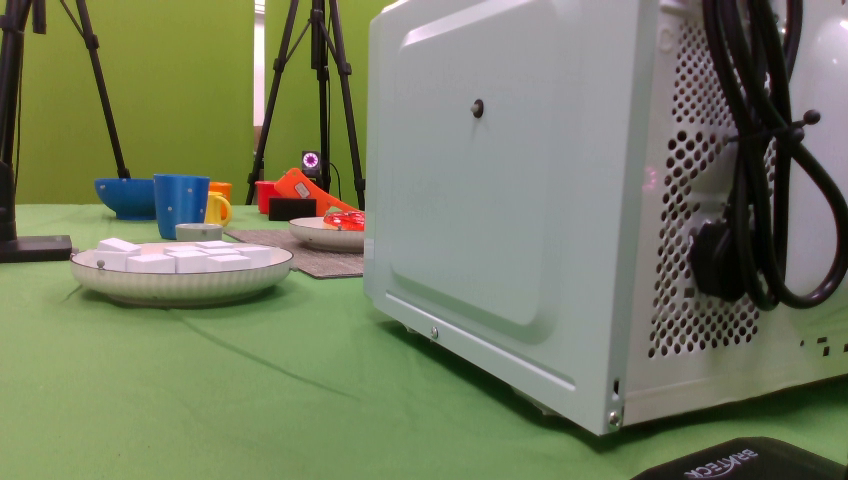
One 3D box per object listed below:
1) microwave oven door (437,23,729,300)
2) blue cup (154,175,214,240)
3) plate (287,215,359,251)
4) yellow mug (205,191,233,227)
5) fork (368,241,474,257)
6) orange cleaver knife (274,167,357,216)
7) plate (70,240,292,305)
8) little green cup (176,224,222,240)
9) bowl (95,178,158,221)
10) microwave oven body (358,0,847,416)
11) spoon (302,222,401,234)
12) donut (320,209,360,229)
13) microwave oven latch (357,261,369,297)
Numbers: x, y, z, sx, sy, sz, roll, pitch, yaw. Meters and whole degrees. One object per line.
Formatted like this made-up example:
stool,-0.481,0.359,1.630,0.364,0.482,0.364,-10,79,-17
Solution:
microwave oven door,0.181,-0.072,0.621,0.358,0.243,0.039,-2,9,-29
blue cup,-0.390,-0.053,0.978,0.093,0.100,0.092,3,6,0
plate,-0.112,-0.012,0.960,0.209,0.038,0.209,3,8,0
yellow mug,-0.415,-0.057,1.132,0.130,0.064,0.100,6,8,16
fork,0.004,0.012,0.885,0.208,0.018,0.028,-6,-5,-45
orange cleaver knife,-0.238,-0.091,1.381,0.212,0.077,0.012,31,0,-19
plate,-0.242,0.031,0.618,0.208,0.039,0.207,2,8,0
little green cup,-0.312,-0.001,0.842,0.061,0.038,0.061,2,8,0
bowl,-0.576,-0.081,1.217,0.151,0.077,0.151,3,8,0
microwave oven body,0.211,-0.047,0.474,0.444,0.260,0.324,-1,7,-28
spoon,-0.127,-0.024,1.105,0.195,0.021,0.041,-3,-16,-31
donut,-0.115,-0.023,0.961,0.099,0.048,0.099,5,9,0
microwave oven latch,-0.019,0.033,0.531,0.079,0.029,0.030,-1,7,-27
